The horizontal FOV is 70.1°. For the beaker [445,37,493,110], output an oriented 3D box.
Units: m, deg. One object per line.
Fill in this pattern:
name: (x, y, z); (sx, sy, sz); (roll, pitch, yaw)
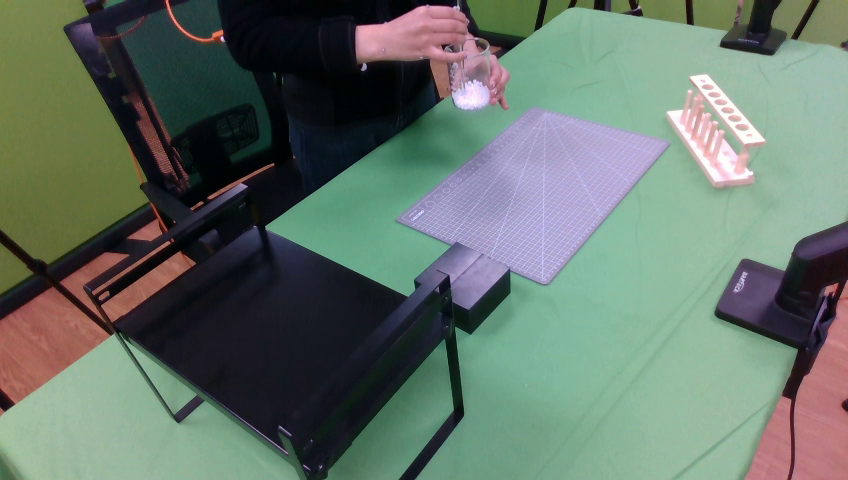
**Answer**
beaker: (0.076, -0.278, 1.016); (0.083, 0.101, 0.074); (29, 54, 37)

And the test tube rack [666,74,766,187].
test tube rack: (0.512, -0.202, 1.082); (0.067, 0.085, 0.241); (-5, 41, 2)

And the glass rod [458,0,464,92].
glass rod: (0.060, -0.330, 0.984); (0.008, 0.200, 0.008); (-3, 44, 3)
